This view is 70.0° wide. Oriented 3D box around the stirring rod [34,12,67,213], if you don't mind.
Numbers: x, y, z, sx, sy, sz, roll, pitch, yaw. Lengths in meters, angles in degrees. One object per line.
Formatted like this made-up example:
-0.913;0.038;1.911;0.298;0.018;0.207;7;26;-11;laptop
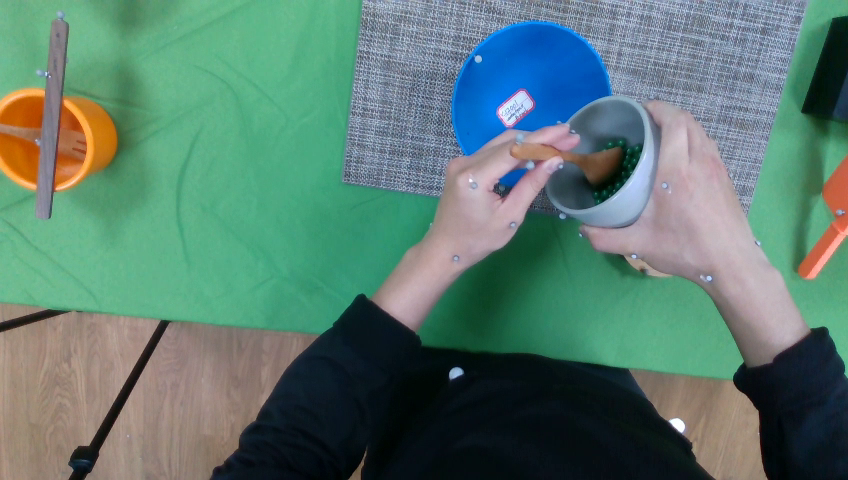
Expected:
-0.327;-0.108;0.529;0.014;0.006;0.176;11;105;-10;stirring rod

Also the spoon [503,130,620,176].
0.116;-0.075;0.497;0.195;0.021;0.042;-1;132;-48;spoon

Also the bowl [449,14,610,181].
0.095;-0.137;0.590;0.151;0.076;0.152;-1;105;-4;bowl

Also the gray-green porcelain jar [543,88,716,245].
0.185;-0.058;0.536;0.127;0.104;0.106;22;104;-35;gray-green porcelain jar

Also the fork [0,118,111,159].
-0.380;-0.108;0.527;0.209;0.018;0.028;14;119;-53;fork

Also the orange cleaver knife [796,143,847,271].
0.452;-0.056;0.644;0.012;0.076;0.213;3;134;-8;orange cleaver knife

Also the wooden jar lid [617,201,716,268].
0.264;-0.022;0.666;0.108;0.020;0.109;-1;111;-2;wooden jar lid
